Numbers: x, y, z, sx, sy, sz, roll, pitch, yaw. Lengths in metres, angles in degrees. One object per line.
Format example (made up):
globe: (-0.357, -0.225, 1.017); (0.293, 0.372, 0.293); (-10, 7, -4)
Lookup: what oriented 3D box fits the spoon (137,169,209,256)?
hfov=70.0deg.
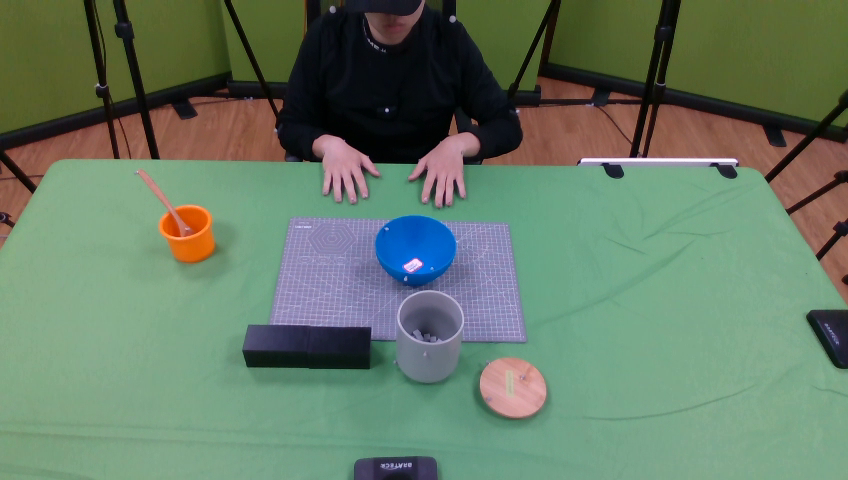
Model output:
spoon: (-0.466, -0.051, 1.123); (0.041, 0.194, 0.021); (-41, 17, -34)

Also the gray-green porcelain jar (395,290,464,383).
gray-green porcelain jar: (0.006, 0.160, 0.972); (0.106, 0.127, 0.105); (2, 46, -2)

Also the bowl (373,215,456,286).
bowl: (-0.019, 0.032, 1.123); (0.151, 0.077, 0.150); (2, 46, -2)

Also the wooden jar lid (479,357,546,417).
wooden jar lid: (0.142, 0.240, 0.979); (0.108, 0.021, 0.107); (1, 45, -1)
